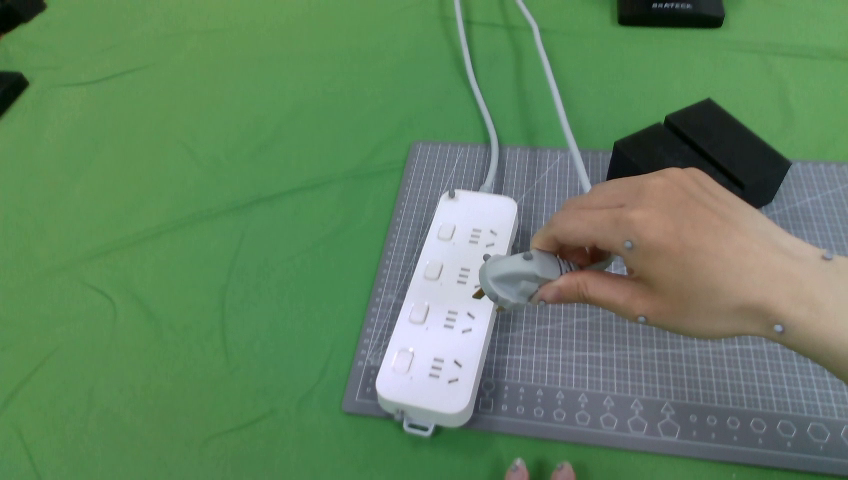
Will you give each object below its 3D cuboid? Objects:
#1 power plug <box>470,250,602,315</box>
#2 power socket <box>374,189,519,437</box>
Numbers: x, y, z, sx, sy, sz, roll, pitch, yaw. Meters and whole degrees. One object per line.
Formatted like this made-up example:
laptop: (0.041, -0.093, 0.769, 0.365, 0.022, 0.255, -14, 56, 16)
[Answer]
power plug: (0.065, 0.033, 0.367, 0.073, 0.053, 0.035, 24, 48, -15)
power socket: (0.024, 0.045, 0.489, 0.072, 0.033, 0.225, 10, 54, 14)
